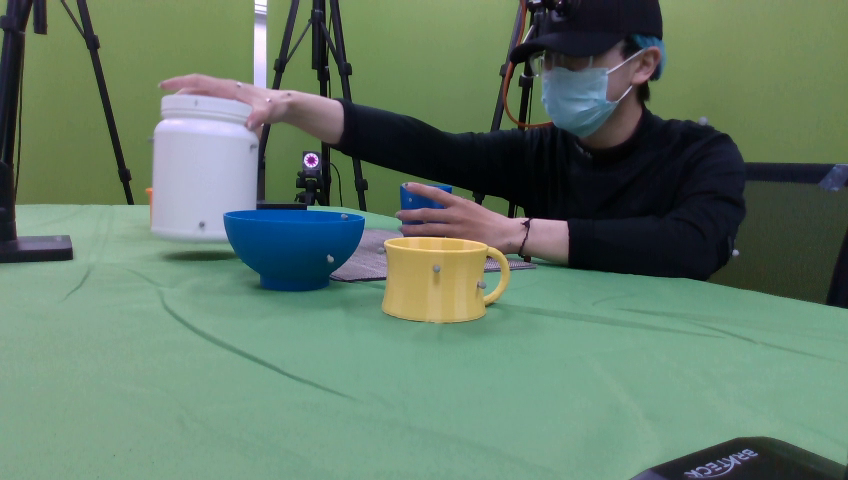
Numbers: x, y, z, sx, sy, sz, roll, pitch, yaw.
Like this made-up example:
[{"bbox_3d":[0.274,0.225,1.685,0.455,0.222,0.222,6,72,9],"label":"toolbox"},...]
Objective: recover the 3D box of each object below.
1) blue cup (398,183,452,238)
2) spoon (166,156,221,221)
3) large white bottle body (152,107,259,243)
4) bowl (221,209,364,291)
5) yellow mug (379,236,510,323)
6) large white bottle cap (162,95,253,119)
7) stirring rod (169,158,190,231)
[{"bbox_3d":[0.001,-0.038,0.965,0.093,0.100,0.092,2,10,0],"label":"blue cup"},{"bbox_3d":[-0.447,-0.104,1.192,0.041,0.022,0.193,7,52,14],"label":"spoon"},{"bbox_3d":[-0.292,-0.092,0.816,0.131,0.184,0.130,4,4,0],"label":"large white bottle body"},{"bbox_3d":[-0.142,0.011,0.660,0.151,0.077,0.151,2,7,0],"label":"bowl"},{"bbox_3d":[0.024,0.034,0.575,0.131,0.064,0.099,1,7,-22],"label":"yellow mug"},{"bbox_3d":[-0.288,-0.176,0.811,0.115,0.018,0.115,4,5,0],"label":"large white bottle cap"},{"bbox_3d":[-0.427,-0.083,1.060,0.014,0.006,0.175,2,49,-13],"label":"stirring rod"}]
